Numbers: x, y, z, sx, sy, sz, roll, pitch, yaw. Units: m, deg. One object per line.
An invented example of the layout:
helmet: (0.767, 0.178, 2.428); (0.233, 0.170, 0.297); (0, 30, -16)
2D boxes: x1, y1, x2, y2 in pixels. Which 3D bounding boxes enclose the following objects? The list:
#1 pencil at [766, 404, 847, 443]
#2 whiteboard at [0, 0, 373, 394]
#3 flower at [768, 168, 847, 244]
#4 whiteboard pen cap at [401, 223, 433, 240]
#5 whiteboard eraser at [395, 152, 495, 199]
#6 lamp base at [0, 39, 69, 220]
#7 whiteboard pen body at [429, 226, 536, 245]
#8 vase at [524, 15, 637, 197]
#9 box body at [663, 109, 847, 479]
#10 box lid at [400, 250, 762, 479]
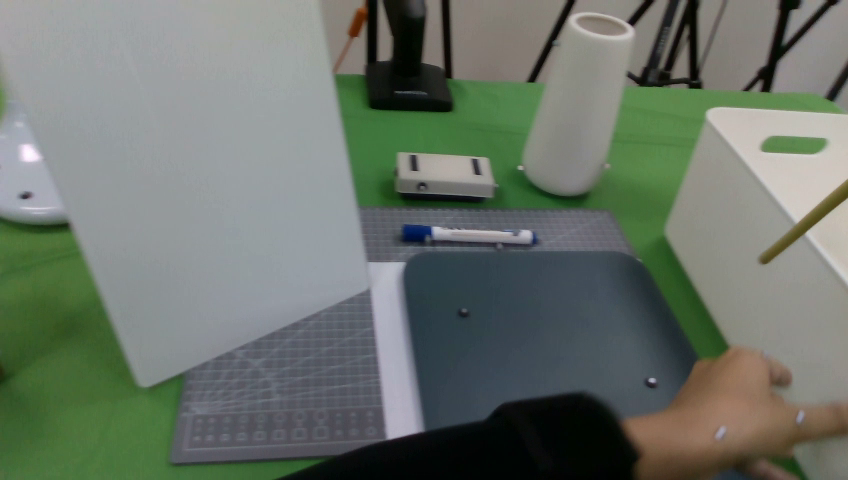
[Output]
pencil: (0.384, 0.178, 0.503); (0.193, 0.012, 0.012); (21, 43, 12)
whiteboard: (-0.189, -0.072, 0.508); (0.218, 0.308, 0.142); (-22, 30, -29)
flower: (0.172, -0.049, 0.187); (0.038, 0.364, 0.043); (-28, 71, 3)
whiteboard pen cap: (-0.007, -0.008, 0.640); (0.033, 0.018, 0.018); (5, 41, -9)
whiteboard eraser: (0.024, -0.073, 0.705); (0.113, 0.042, 0.055); (1, 39, -7)
lamp base: (-0.384, -0.137, 0.597); (0.178, 0.182, 0.160); (27, 44, 23)
whiteboard pen body: (0.051, -0.006, 0.649); (0.141, 0.017, 0.017); (2, 42, -7)
vase: (0.181, -0.148, 0.698); (0.098, 0.201, 0.097); (6, 41, -5)
box body: (0.409, 0.047, 0.547); (0.255, 0.161, 0.360); (1, 42, -8)
box lid: (0.123, 0.138, 0.505); (0.264, 0.015, 0.367); (0, 42, -10)
